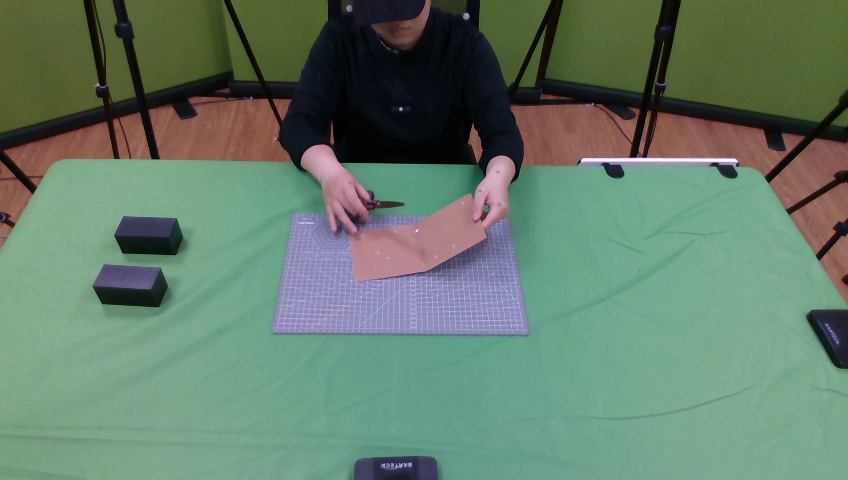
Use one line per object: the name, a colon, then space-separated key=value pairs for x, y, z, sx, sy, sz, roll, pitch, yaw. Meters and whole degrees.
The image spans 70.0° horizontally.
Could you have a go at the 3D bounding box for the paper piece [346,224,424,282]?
paper piece: x=-0.077 y=0.022 z=1.174 sx=0.135 sy=0.004 sz=0.135 roll=-7 pitch=46 yaw=-8

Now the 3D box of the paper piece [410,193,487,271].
paper piece: x=0.045 y=-0.018 z=1.168 sx=0.138 sy=0.009 sz=0.135 roll=-28 pitch=47 yaw=13

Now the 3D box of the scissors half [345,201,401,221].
scissors half: x=-0.101 y=-0.060 z=1.175 sx=0.175 sy=0.013 sz=0.040 roll=-9 pitch=46 yaw=47

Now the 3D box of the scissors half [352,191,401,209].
scissors half: x=-0.092 y=-0.076 z=1.182 sx=0.174 sy=0.013 sz=0.040 roll=13 pitch=68 yaw=55
